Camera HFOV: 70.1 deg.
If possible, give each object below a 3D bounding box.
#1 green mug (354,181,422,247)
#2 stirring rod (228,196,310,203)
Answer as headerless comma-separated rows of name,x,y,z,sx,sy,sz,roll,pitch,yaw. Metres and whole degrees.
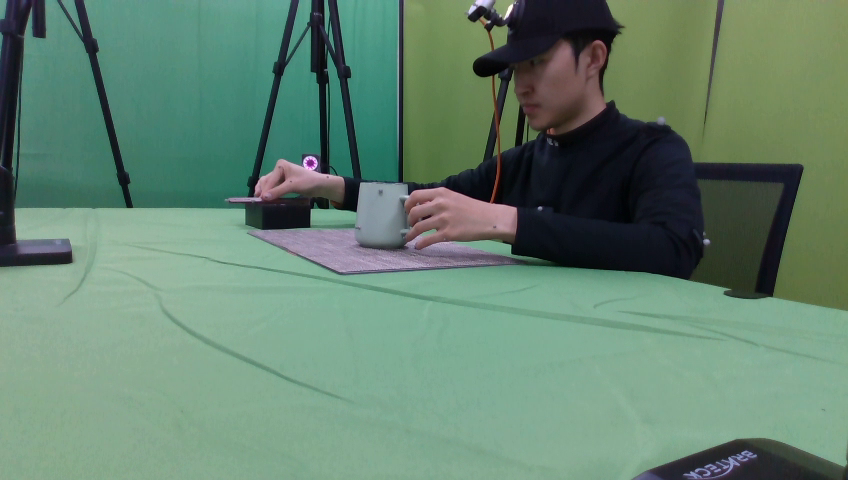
green mug,-0.055,-0.042,0.988,0.125,0.105,0.093,7,8,35
stirring rod,-0.316,-0.084,1.244,0.177,0.006,0.014,-4,34,-40
